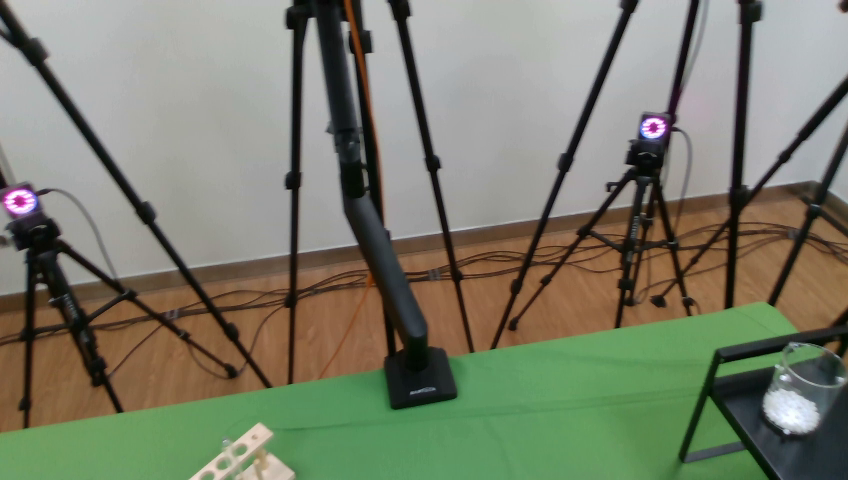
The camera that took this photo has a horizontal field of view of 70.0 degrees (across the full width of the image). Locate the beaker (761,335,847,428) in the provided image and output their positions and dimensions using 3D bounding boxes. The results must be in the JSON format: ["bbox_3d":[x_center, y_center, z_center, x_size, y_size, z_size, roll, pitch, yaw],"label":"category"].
[{"bbox_3d":[0.480,0.182,0.774,0.074,0.101,0.083,-5,36,-5],"label":"beaker"}]

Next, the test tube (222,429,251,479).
[{"bbox_3d":[-0.263,0.320,0.863,0.017,0.151,0.017,-2,36,2],"label":"test tube"}]

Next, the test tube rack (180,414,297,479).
[{"bbox_3d":[-0.303,0.371,0.872,0.066,0.086,0.242,25,44,32],"label":"test tube rack"}]
